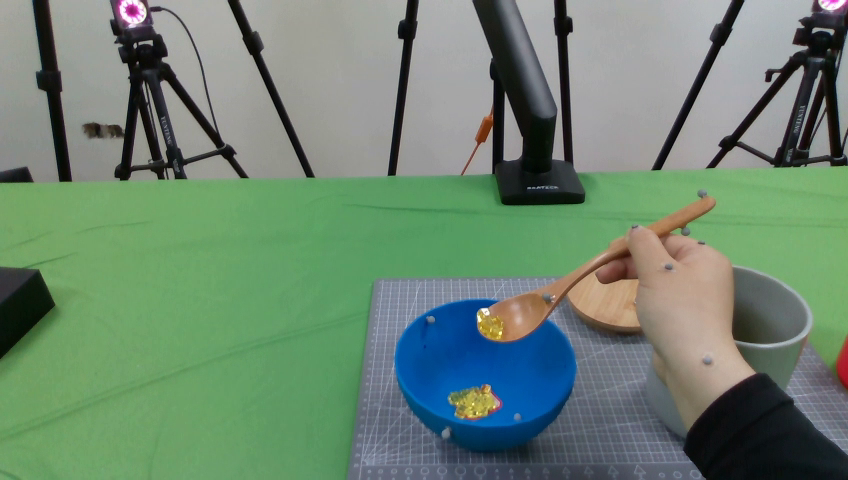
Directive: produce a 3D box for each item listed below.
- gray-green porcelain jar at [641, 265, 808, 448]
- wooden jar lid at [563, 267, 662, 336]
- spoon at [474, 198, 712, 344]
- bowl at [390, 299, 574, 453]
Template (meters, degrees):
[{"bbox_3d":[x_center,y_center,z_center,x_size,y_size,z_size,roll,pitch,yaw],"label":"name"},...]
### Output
[{"bbox_3d":[0.243,0.101,0.508,0.106,0.127,0.105,-1,33,1],"label":"gray-green porcelain jar"},{"bbox_3d":[0.206,0.067,0.660,0.108,0.021,0.107,-1,32,1],"label":"wooden jar lid"},{"bbox_3d":[0.123,0.022,0.444,0.194,0.022,0.041,-33,37,9],"label":"spoon"},{"bbox_3d":[0.048,0.127,0.519,0.151,0.077,0.150,-1,33,1],"label":"bowl"}]
